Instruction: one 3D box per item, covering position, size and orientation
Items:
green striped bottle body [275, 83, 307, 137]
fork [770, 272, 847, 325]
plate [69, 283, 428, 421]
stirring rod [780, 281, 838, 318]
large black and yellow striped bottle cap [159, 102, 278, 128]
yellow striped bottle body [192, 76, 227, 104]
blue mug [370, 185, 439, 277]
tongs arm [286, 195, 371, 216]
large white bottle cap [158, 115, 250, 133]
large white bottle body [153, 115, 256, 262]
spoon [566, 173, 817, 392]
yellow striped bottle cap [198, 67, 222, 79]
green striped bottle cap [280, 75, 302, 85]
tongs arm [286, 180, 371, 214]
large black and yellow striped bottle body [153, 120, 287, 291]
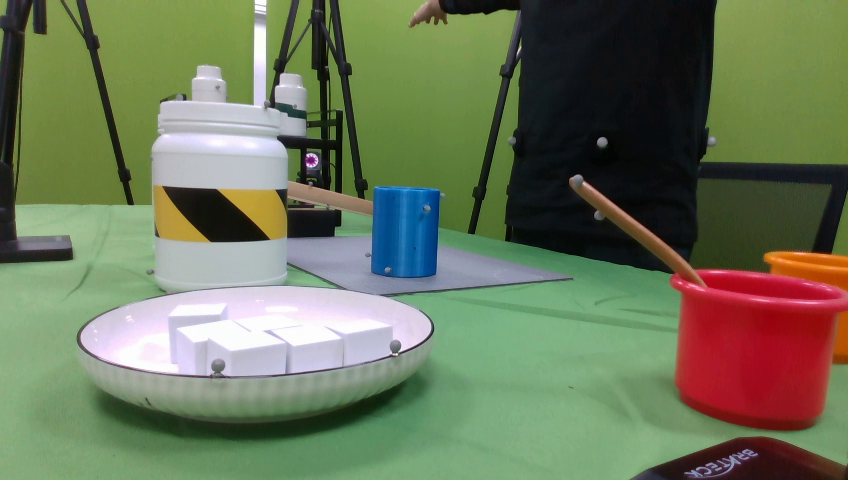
[{"bbox_3d":[-0.269,-0.269,1.221,0.063,0.119,0.063,2,7,0],"label":"green striped bottle body"},{"bbox_3d":[0.331,0.018,0.443,0.028,0.018,0.207,-1,-36,-15],"label":"fork"},{"bbox_3d":[-0.102,0.066,0.381,0.208,0.039,0.207,2,7,0],"label":"plate"},{"bbox_3d":[0.344,0.019,0.461,0.014,0.006,0.176,-14,-26,-31],"label":"stirring rod"},{"bbox_3d":[-0.207,-0.125,0.615,0.115,0.019,0.115,2,6,0],"label":"large black and yellow striped bottle cap"},{"bbox_3d":[-0.414,-0.268,1.169,0.063,0.120,0.063,2,7,0],"label":"yellow striped bottle body"},{"bbox_3d":[-0.025,-0.016,0.761,0.082,0.106,0.116,2,7,-2],"label":"blue mug"},{"bbox_3d":[-0.166,-0.074,1.216,0.389,0.027,0.028,11,-6,-24],"label":"tongs arm"},{"bbox_3d":[-0.291,-0.153,0.803,0.115,0.018,0.115,1,7,0],"label":"large white bottle cap"},{"bbox_3d":[-0.293,-0.070,0.813,0.131,0.184,0.130,2,7,0],"label":"large white bottle body"},{"bbox_3d":[0.161,0.024,0.370,0.193,0.021,0.042,47,18,3],"label":"spoon"},{"bbox_3d":[-0.412,-0.320,1.163,0.044,0.018,0.044,0,6,0],"label":"yellow striped bottle cap"},{"bbox_3d":[-0.267,-0.320,1.216,0.044,0.020,0.044,2,8,0],"label":"green striped bottle cap"},{"bbox_3d":[-0.123,-0.066,1.147,0.387,0.026,0.050,11,-3,-38],"label":"tongs arm"},{"bbox_3d":[-0.208,-0.042,0.626,0.131,0.184,0.130,2,7,0],"label":"large black and yellow striped bottle body"}]
